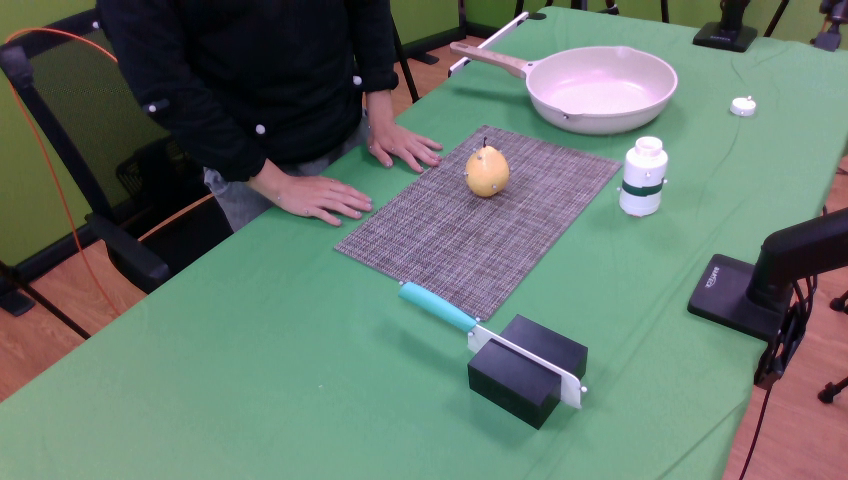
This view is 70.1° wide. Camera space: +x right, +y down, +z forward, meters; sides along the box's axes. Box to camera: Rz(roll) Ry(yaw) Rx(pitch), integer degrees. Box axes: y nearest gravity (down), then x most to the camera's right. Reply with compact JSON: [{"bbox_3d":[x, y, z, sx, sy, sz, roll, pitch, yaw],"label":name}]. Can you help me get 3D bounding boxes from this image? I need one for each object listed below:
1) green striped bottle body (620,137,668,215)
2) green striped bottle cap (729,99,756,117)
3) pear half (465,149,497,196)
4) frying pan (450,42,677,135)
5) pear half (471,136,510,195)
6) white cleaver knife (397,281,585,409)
[{"bbox_3d":[0.350,-0.103,0.963,0.063,0.120,0.063,-4,41,4],"label":"green striped bottle body"},{"bbox_3d":[0.623,-0.259,1.183,0.044,0.020,0.044,-3,40,3],"label":"green striped bottle cap"},{"bbox_3d":[0.091,-0.110,1.025,0.070,0.088,0.031,30,52,30],"label":"pear half"},{"bbox_3d":[0.268,-0.344,1.266,0.485,0.103,0.307,26,49,21],"label":"frying pan"},{"bbox_3d":[0.115,-0.136,1.036,0.076,0.110,0.056,31,53,30],"label":"pear half"},{"bbox_3d":[0.074,0.131,0.770,0.284,0.066,0.021,27,45,31],"label":"white cleaver knife"}]
